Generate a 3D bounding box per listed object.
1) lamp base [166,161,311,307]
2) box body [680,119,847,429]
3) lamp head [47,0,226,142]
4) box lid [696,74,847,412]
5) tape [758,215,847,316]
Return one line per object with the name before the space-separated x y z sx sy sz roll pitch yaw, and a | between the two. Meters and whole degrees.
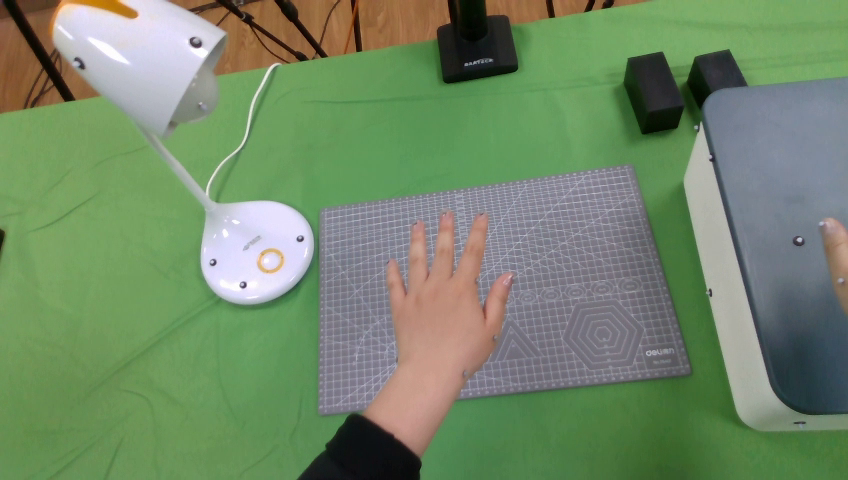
lamp base | -0.259 -0.021 0.790 0.178 0.182 0.160 28 70 24
box body | 0.451 0.016 0.669 0.254 0.162 0.361 -5 62 7
lamp head | -0.251 -0.160 0.524 0.123 0.112 0.112 28 67 -15
box lid | 0.441 -0.020 0.605 0.263 0.015 0.368 -5 63 7
tape | 0.463 0.029 0.716 0.117 0.053 0.116 -3 63 7
